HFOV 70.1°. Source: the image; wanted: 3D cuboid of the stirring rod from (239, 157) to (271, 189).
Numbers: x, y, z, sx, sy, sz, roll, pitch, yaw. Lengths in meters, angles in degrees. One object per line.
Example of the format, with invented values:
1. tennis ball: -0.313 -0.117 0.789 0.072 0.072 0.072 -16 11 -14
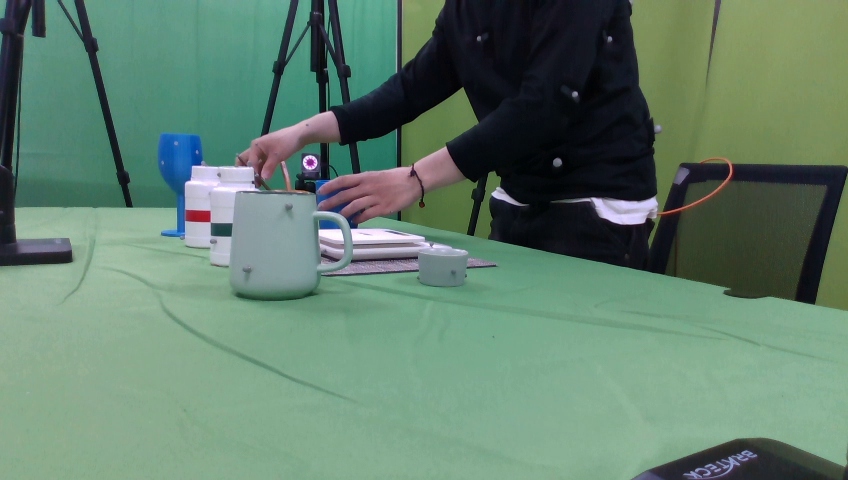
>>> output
1. stirring rod: -0.308 -0.099 1.213 0.006 0.177 0.014 -38 25 3

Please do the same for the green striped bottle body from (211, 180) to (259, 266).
1. green striped bottle body: -0.243 -0.029 0.784 0.063 0.119 0.063 2 7 0

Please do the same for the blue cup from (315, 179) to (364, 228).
1. blue cup: -0.150 -0.058 1.071 0.093 0.100 0.092 1 7 0

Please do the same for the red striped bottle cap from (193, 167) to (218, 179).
1. red striped bottle cap: -0.329 -0.103 0.921 0.044 0.017 0.044 -1 9 0

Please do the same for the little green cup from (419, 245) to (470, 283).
1. little green cup: 0.023 0.028 0.712 0.061 0.038 0.061 2 6 0

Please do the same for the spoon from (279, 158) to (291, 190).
1. spoon: -0.281 -0.103 1.251 0.042 0.193 0.021 14 -43 -36

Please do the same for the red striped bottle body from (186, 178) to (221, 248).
1. red striped bottle body: -0.331 -0.050 0.927 0.063 0.119 0.063 2 7 0

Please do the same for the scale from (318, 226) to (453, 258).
1. scale: -0.066 0.001 0.906 0.202 0.031 0.148 -2 8 -31

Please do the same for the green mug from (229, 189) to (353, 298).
1. green mug: -0.135 0.002 0.618 0.125 0.105 0.092 2 7 4

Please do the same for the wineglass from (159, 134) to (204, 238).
1. wineglass: -0.415 -0.093 1.040 0.074 0.172 0.073 2 7 0

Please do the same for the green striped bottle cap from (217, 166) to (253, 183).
1. green striped bottle cap: -0.242 -0.085 0.777 0.044 0.020 0.044 2 9 0
